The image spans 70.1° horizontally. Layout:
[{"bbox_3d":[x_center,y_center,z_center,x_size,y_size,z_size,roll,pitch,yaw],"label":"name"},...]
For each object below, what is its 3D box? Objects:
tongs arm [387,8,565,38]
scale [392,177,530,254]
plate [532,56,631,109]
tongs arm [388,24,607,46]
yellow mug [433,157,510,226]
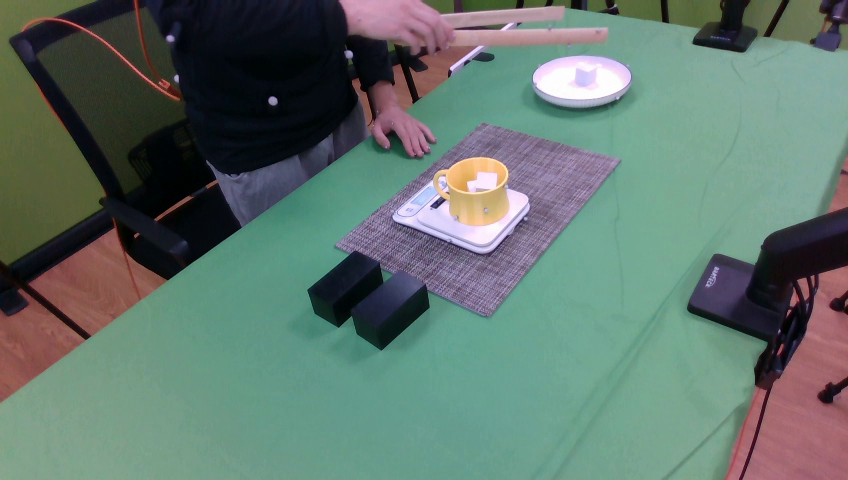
[{"bbox_3d":[0.103,-0.386,1.067,0.390,0.028,0.028,-15,46,-28],"label":"tongs arm"},{"bbox_3d":[0.060,-0.050,1.006,0.199,0.032,0.149,22,48,30],"label":"scale"},{"bbox_3d":[0.336,-0.336,1.301,0.207,0.039,0.206,-4,41,4],"label":"plate"},{"bbox_3d":[0.131,-0.345,1.014,0.387,0.026,0.050,-8,40,-19],"label":"tongs arm"},{"bbox_3d":[0.072,-0.082,0.968,0.130,0.064,0.100,13,45,24],"label":"yellow mug"}]
